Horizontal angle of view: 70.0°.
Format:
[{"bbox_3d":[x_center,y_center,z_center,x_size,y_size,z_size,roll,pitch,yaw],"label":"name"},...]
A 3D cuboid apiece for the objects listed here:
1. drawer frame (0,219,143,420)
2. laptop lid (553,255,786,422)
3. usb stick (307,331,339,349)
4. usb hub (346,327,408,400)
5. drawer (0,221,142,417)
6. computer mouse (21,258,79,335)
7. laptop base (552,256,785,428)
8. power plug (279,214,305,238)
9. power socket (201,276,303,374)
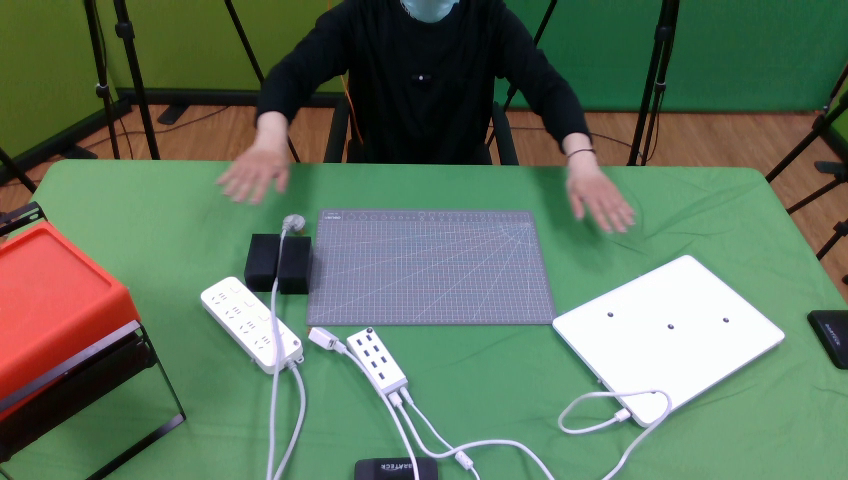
[{"bbox_3d":[-0.518,0.096,0.777,0.201,0.083,0.213,30,52,22],"label":"drawer frame"},{"bbox_3d":[0.433,0.154,1.070,0.357,0.013,0.240,-20,49,-22],"label":"laptop lid"},{"bbox_3d":[-0.175,0.167,1.022,0.059,0.027,0.021,9,89,24],"label":"usb stick"},{"bbox_3d":[-0.078,0.202,0.998,0.049,0.025,0.124,-23,53,-24],"label":"usb hub"},{"bbox_3d":[-0.516,0.095,0.780,0.193,0.073,0.211,32,53,23],"label":"drawer"},{"bbox_3d":[-0.505,0.073,0.819,0.063,0.041,0.116,-6,57,-18],"label":"computer mouse"},{"bbox_3d":[0.433,0.164,1.078,0.355,0.023,0.234,-22,48,-23],"label":"laptop base"},{"bbox_3d":[-0.261,-0.020,1.184,0.035,0.053,0.072,9,55,33],"label":"power plug"},{"bbox_3d":[-0.296,0.141,1.034,0.072,0.033,0.225,-35,58,-31],"label":"power socket"}]
